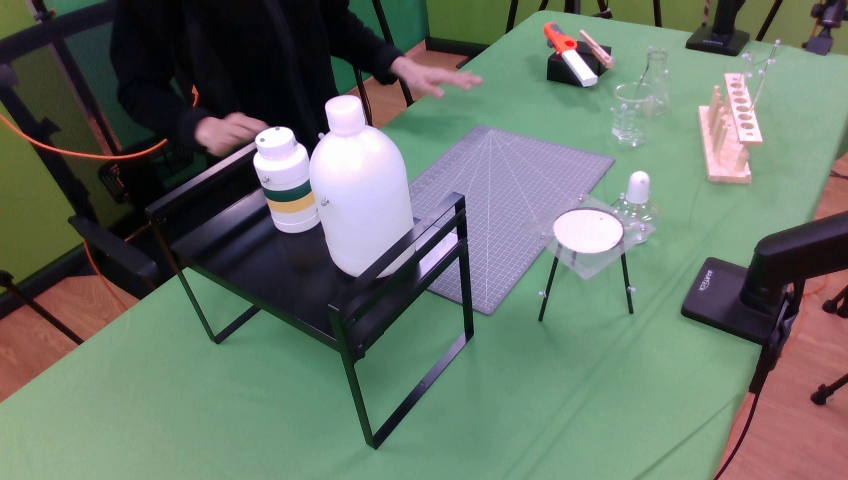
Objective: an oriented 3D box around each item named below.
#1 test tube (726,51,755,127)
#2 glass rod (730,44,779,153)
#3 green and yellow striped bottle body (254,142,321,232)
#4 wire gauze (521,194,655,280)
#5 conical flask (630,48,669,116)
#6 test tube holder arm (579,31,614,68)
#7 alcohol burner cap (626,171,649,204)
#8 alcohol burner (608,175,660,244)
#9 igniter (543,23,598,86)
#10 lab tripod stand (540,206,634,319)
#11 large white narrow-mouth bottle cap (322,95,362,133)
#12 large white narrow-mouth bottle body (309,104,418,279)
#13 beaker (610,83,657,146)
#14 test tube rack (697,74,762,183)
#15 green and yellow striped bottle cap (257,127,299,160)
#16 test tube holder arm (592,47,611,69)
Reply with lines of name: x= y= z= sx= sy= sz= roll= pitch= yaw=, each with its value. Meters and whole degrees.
test tube: x=0.567 y=-0.268 z=1.086 sx=0.017 sy=0.151 sz=0.017 roll=-4 pitch=45 yaw=5
glass rod: x=0.555 y=-0.234 z=1.020 sx=0.008 sy=0.200 sz=0.008 roll=2 pitch=40 yaw=-1
green and yellow striped bottle body: x=-0.165 y=-0.073 z=0.732 sx=0.063 sy=0.120 sz=0.063 roll=-4 pitch=41 yaw=4
wire gauze: x=0.207 y=-0.012 z=0.772 sx=0.122 sy=0.011 sz=0.124 roll=-28 pitch=44 yaw=-20
conical flask: x=0.456 y=-0.317 z=1.205 sx=0.075 sy=0.122 sz=0.075 roll=-4 pitch=41 yaw=4
test tube holder arm: x=0.384 y=-0.428 z=1.351 sx=0.013 sy=0.015 sz=0.177 roll=-11 pitch=41 yaw=-4
alcohol burner cap: x=0.320 y=-0.081 z=0.900 sx=0.034 sy=0.048 sz=0.033 roll=-4 pitch=42 yaw=4
alcohol burner: x=0.322 y=-0.053 z=0.924 sx=0.078 sy=0.119 sz=0.077 roll=-4 pitch=43 yaw=4
igniter: x=0.320 y=-0.419 z=1.345 sx=0.057 sy=0.025 sz=0.274 roll=-12 pitch=44 yaw=-3
lab tripod stand: x=0.218 y=0.034 z=0.821 sx=0.148 sy=0.132 sz=0.147 roll=-4 pitch=42 yaw=4
large white narrow-mouth bottle cap: x=-0.080 y=-0.123 z=0.589 sx=0.038 sy=0.024 sz=0.037 roll=-5 pitch=40 yaw=5
large white narrow-mouth bottle body: x=-0.068 y=-0.057 z=0.644 sx=0.102 sy=0.195 sz=0.101 roll=-6 pitch=40 yaw=5
beaker: x=0.388 y=-0.235 z=1.138 sx=0.074 sy=0.101 sz=0.083 roll=-31 pitch=45 yaw=-26
test tube rack: x=0.547 y=-0.208 z=1.095 sx=0.066 sy=0.085 sz=0.242 roll=5 pitch=42 yaw=15
green and yellow striped bottle cap: x=-0.169 y=-0.112 z=0.699 sx=0.045 sy=0.020 sz=0.045 roll=-5 pitch=41 yaw=5
test tube holder arm: x=0.386 y=-0.398 z=1.317 sx=0.010 sy=0.015 sz=0.087 roll=-10 pitch=41 yaw=-2
